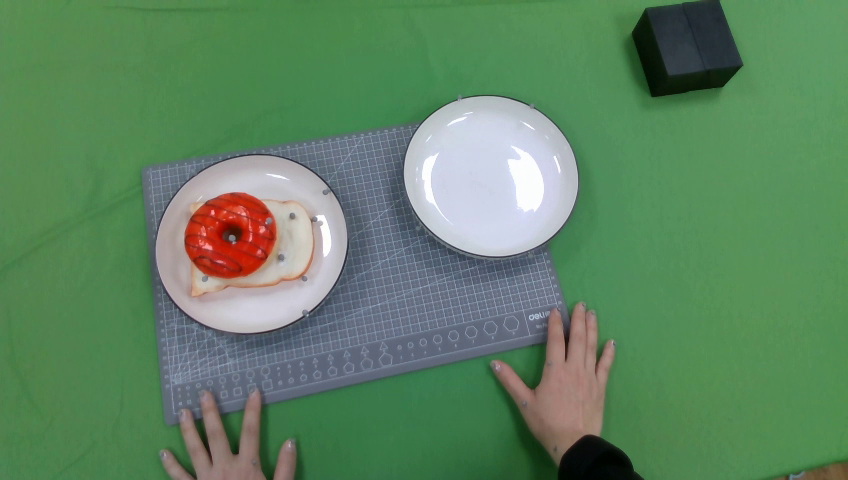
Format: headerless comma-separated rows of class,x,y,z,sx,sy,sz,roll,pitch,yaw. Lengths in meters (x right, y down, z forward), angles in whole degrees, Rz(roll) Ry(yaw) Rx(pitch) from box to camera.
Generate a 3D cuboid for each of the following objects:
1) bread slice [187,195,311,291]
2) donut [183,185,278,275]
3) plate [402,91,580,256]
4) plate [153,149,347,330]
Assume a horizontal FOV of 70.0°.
bread slice,-0.195,-0.003,0.677,0.134,0.018,0.106,-8,74,-8
donut,-0.207,-0.011,0.650,0.099,0.048,0.098,1,74,-2
plate,0.078,-0.077,0.717,0.208,0.039,0.206,1,73,-3
plate,-0.190,0.001,0.677,0.209,0.038,0.208,1,73,-4
